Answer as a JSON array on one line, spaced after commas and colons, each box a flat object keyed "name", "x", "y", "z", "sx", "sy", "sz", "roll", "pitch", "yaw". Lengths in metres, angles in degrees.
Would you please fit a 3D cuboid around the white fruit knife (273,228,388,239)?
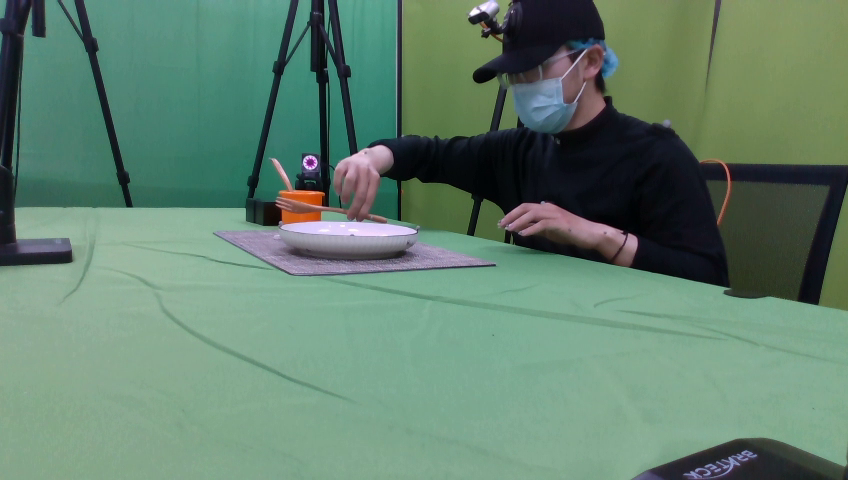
[{"name": "white fruit knife", "x": -0.158, "y": -0.009, "z": 1.055, "sx": 0.208, "sy": 0.016, "sz": 0.027, "roll": -3, "pitch": -21, "yaw": -23}]

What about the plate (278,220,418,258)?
[{"name": "plate", "x": -0.114, "y": -0.002, "z": 0.914, "sx": 0.209, "sy": 0.038, "sz": 0.209, "roll": 2, "pitch": 7, "yaw": 0}]

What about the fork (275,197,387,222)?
[{"name": "fork", "x": -0.170, "y": -0.053, "z": 1.115, "sx": 0.208, "sy": 0.028, "sz": 0.018, "roll": 8, "pitch": 35, "yaw": -14}]

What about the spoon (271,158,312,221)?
[{"name": "spoon", "x": -0.277, "y": -0.103, "z": 1.247, "sx": 0.042, "sy": 0.193, "sz": 0.021, "roll": -6, "pitch": -33, "yaw": -39}]
